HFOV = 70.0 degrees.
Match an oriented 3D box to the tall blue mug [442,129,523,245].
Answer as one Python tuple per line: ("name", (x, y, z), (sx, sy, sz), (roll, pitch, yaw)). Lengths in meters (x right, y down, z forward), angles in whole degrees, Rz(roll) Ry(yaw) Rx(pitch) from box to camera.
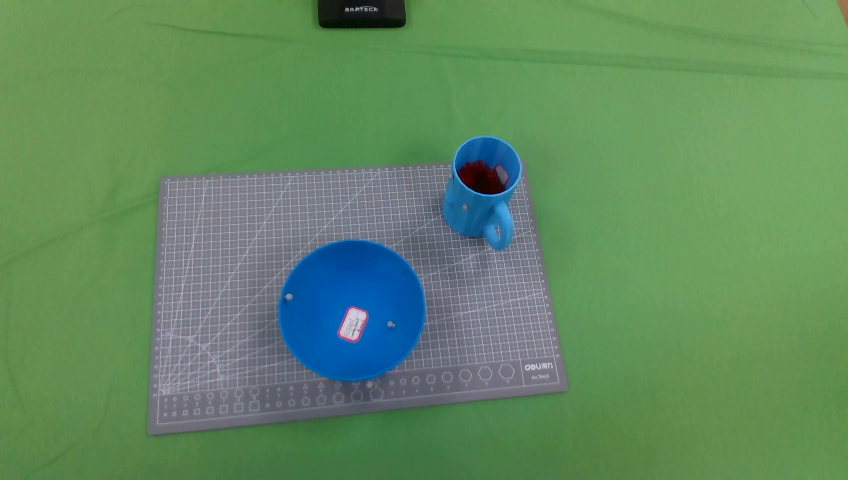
("tall blue mug", (0.076, -0.056, 0.698), (0.107, 0.108, 0.077), (40, 69, 10))

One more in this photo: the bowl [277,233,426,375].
("bowl", (-0.076, 0.076, 0.649), (0.151, 0.077, 0.150), (2, 69, -5))
